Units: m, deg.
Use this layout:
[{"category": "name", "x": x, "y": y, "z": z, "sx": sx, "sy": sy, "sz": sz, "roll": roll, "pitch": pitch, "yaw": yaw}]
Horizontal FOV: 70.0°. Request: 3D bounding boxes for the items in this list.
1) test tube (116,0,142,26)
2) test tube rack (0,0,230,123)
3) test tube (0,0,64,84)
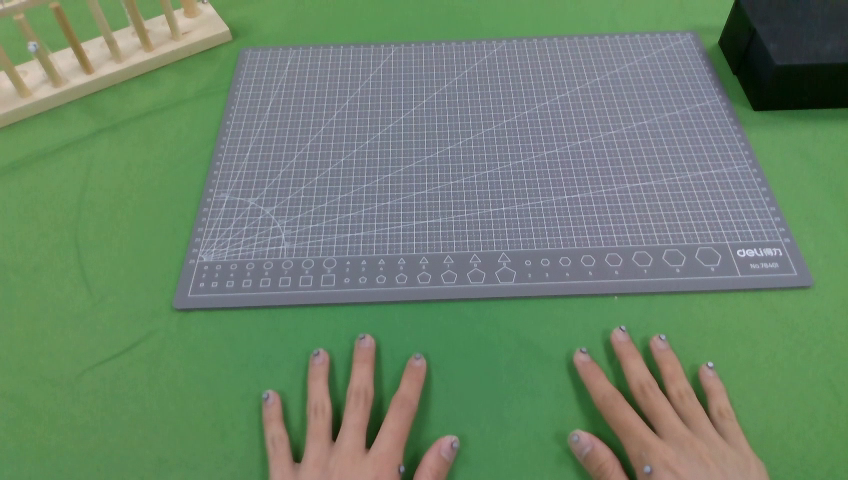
[{"category": "test tube", "x": -0.287, "y": -0.260, "z": 0.542, "sx": 0.017, "sy": 0.151, "sz": 0.017, "roll": 0, "pitch": 52, "yaw": 1}, {"category": "test tube rack", "x": -0.316, "y": -0.198, "z": 0.559, "sx": 0.242, "sy": 0.086, "sz": 0.066, "roll": -28, "pitch": 57, "yaw": -18}, {"category": "test tube", "x": -0.343, "y": -0.194, "z": 0.501, "sx": 0.017, "sy": 0.152, "sz": 0.017, "roll": -1, "pitch": 53, "yaw": 2}]
